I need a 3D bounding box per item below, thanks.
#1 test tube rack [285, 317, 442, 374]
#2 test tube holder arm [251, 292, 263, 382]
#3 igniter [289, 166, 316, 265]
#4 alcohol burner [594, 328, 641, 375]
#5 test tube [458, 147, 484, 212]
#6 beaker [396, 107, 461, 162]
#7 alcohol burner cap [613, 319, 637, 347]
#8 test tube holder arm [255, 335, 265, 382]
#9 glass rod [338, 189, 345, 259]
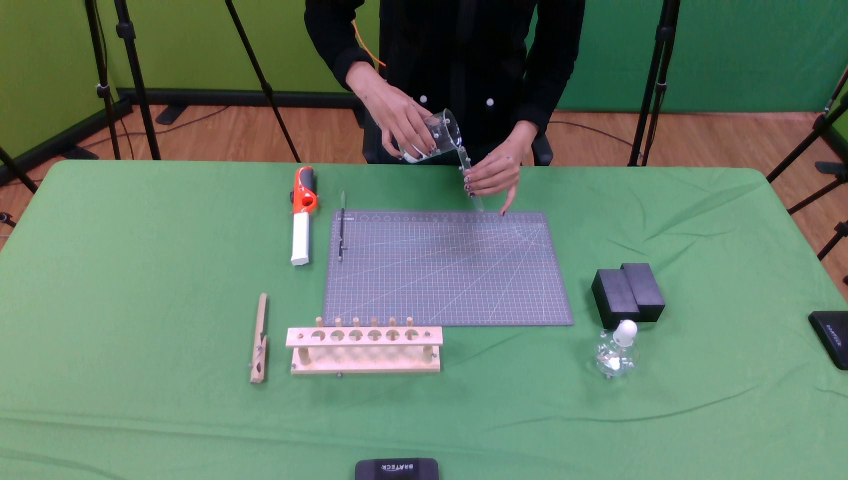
[{"bbox_3d":[-0.095,0.166,0.988,0.242,0.085,0.066,0,46,-4],"label":"test tube rack"},{"bbox_3d":[-0.282,0.159,1.025,0.013,0.015,0.177,23,36,-33],"label":"test tube holder arm"},{"bbox_3d":[-0.248,-0.058,1.233,0.057,0.025,0.274,-9,47,1],"label":"igniter"},{"bbox_3d":[0.322,0.170,0.994,0.078,0.119,0.077,3,48,-3],"label":"alcohol burner"},{"bbox_3d":[0.089,-0.111,1.138,0.017,0.151,0.017,-13,40,11],"label":"test tube"},{"bbox_3d":[0.008,-0.184,1.089,0.100,0.084,0.073,-16,31,22],"label":"beaker"},{"bbox_3d":[0.323,0.146,0.967,0.034,0.048,0.033,-2,53,3],"label":"alcohol burner cap"},{"bbox_3d":[-0.270,0.193,0.997,0.010,0.015,0.087,24,36,-32],"label":"test tube holder arm"},{"bbox_3d":[-0.166,-0.037,1.226,0.008,0.008,0.198,-1,47,-4],"label":"glass rod"}]
